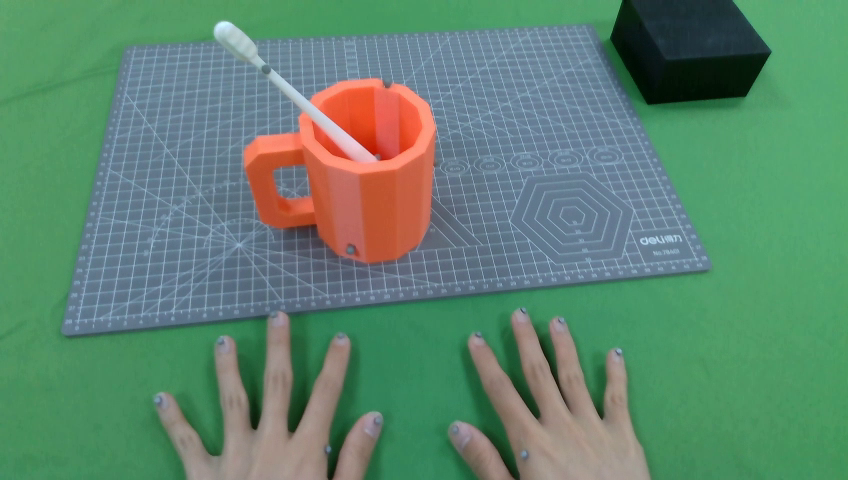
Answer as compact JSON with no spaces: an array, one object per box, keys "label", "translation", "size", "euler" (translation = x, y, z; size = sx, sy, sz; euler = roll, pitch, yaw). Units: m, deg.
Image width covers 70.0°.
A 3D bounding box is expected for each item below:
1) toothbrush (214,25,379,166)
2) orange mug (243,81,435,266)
[{"label":"toothbrush","translation":[-0.057,-0.068,0.385],"size":[0.016,0.184,0.014],"euler":[17,72,46]},{"label":"orange mug","translation":[-0.055,-0.042,0.415],"size":[0.126,0.101,0.082],"euler":[-6,54,-13]}]
